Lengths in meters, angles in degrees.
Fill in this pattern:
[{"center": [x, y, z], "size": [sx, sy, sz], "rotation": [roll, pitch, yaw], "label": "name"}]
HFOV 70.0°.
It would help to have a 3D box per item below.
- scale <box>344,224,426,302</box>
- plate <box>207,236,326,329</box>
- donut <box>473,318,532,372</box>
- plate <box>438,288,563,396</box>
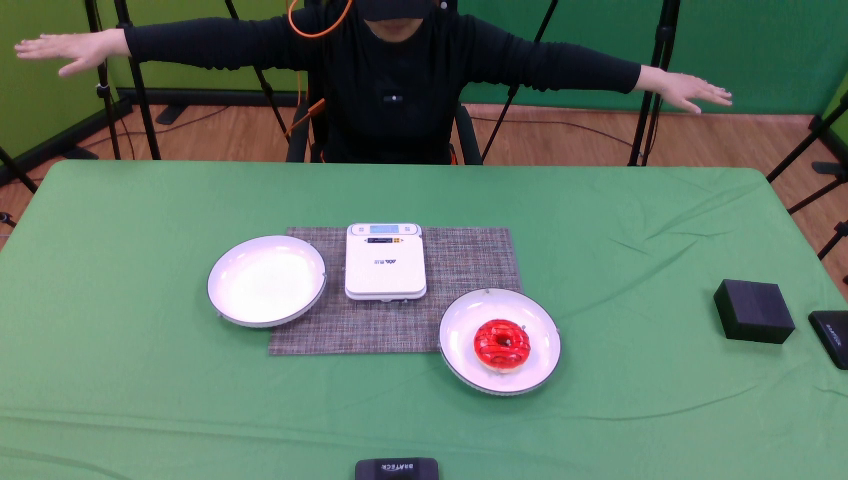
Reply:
[{"center": [-0.075, 0.033, 1.149], "size": [0.149, 0.032, 0.199], "rotation": [0, 46, -5], "label": "scale"}, {"center": [-0.278, 0.078, 1.088], "size": [0.208, 0.039, 0.206], "rotation": [1, 46, 0], "label": "plate"}, {"center": [0.131, 0.174, 1.010], "size": [0.099, 0.048, 0.098], "rotation": [1, 48, -1], "label": "donut"}, {"center": [0.127, 0.173, 1.025], "size": [0.209, 0.038, 0.208], "rotation": [3, 48, -3], "label": "plate"}]
